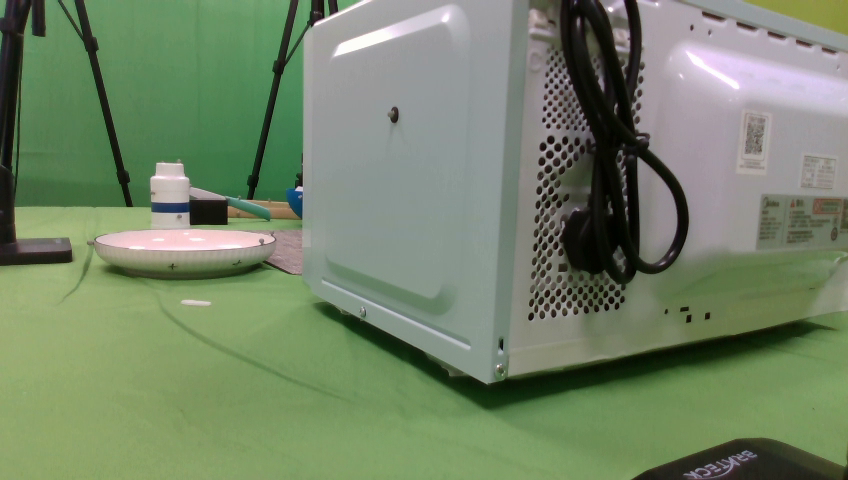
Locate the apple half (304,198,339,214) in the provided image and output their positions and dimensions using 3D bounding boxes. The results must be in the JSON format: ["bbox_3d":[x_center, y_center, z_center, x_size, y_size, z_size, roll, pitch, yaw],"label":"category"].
[{"bbox_3d":[-0.217,-0.073,1.275,0.081,0.033,0.081,2,10,0],"label":"apple half"}]

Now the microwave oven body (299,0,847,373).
[{"bbox_3d":[0.152,-0.055,0.542,0.444,0.260,0.324,-2,7,-33],"label":"microwave oven body"}]

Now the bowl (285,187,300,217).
[{"bbox_3d":[-0.218,-0.069,1.274,0.151,0.077,0.151,3,8,0],"label":"bowl"}]

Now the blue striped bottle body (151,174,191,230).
[{"bbox_3d":[-0.439,-0.071,1.052,0.063,0.120,0.063,2,8,0],"label":"blue striped bottle body"}]

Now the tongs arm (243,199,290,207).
[{"bbox_3d":[-0.309,-0.079,1.487,0.385,0.026,0.050,3,7,-2],"label":"tongs arm"}]

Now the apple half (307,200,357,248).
[{"bbox_3d":[-0.135,-0.024,0.942,0.053,0.074,0.081,13,9,38],"label":"apple half"}]

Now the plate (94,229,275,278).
[{"bbox_3d":[-0.291,0.016,0.749,0.208,0.039,0.207,2,7,0],"label":"plate"}]

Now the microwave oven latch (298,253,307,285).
[{"bbox_3d":[-0.081,0.027,0.582,0.079,0.029,0.030,-1,7,-32],"label":"microwave oven latch"}]

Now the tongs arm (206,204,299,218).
[{"bbox_3d":[-0.302,-0.065,1.407,0.389,0.028,0.028,1,4,-15],"label":"tongs arm"}]

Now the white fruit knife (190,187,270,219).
[{"bbox_3d":[-0.413,-0.081,1.269,0.208,0.027,0.016,17,13,-41],"label":"white fruit knife"}]

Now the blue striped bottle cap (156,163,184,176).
[{"bbox_3d":[-0.438,-0.122,1.045,0.044,0.020,0.044,5,6,0],"label":"blue striped bottle cap"}]

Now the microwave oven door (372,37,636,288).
[{"bbox_3d":[0.110,-0.080,0.686,0.358,0.243,0.039,-2,9,-33],"label":"microwave oven door"}]
